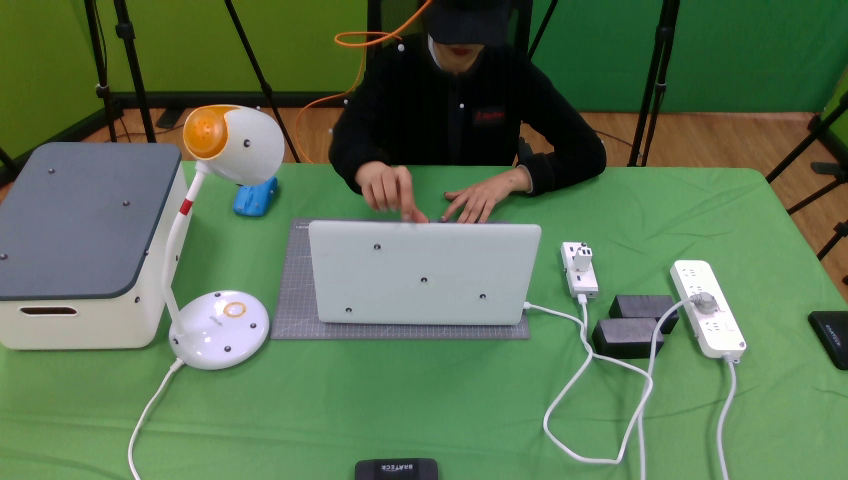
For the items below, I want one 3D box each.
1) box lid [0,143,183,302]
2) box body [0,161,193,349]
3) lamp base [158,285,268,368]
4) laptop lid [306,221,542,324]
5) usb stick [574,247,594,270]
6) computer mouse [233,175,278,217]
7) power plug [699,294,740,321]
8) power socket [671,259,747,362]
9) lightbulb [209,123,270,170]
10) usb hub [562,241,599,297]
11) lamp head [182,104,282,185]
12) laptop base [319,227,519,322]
[{"bbox_3d":[-0.567,-0.045,0.999,0.263,0.015,0.369,-1,46,-4],"label":"box lid"},{"bbox_3d":[-0.570,0.006,1.054,0.254,0.161,0.361,-1,46,-4],"label":"box body"},{"bbox_3d":[-0.348,0.102,0.963,0.160,0.181,0.178,23,51,18],"label":"lamp base"},{"bbox_3d":[-0.002,0.060,0.970,0.357,0.243,0.013,2,44,-4],"label":"laptop lid"},{"bbox_3d":[0.298,0.040,1.136,0.027,0.059,0.021,2,46,-4],"label":"usb stick"},{"bbox_3d":[-0.349,-0.097,1.257,0.063,0.041,0.116,11,50,4],"label":"computer mouse"},{"bbox_3d":[0.515,0.127,1.070,0.035,0.053,0.072,-17,55,-6],"label":"power plug"},{"bbox_3d":[0.516,0.119,1.108,0.072,0.033,0.225,0,46,-2],"label":"power socket"},{"bbox_3d":[-0.260,-0.136,0.847,0.059,0.108,0.059,-4,78,20],"label":"lightbulb"},{"bbox_3d":[0.300,0.055,1.162,0.049,0.025,0.124,3,46,-3],"label":"usb hub"},{"bbox_3d":[-0.271,-0.133,0.825,0.112,0.112,0.123,20,8,15],"label":"lamp head"},{"bbox_3d":[-0.009,0.063,1.137,0.354,0.023,0.234,1,42,-3],"label":"laptop base"}]
